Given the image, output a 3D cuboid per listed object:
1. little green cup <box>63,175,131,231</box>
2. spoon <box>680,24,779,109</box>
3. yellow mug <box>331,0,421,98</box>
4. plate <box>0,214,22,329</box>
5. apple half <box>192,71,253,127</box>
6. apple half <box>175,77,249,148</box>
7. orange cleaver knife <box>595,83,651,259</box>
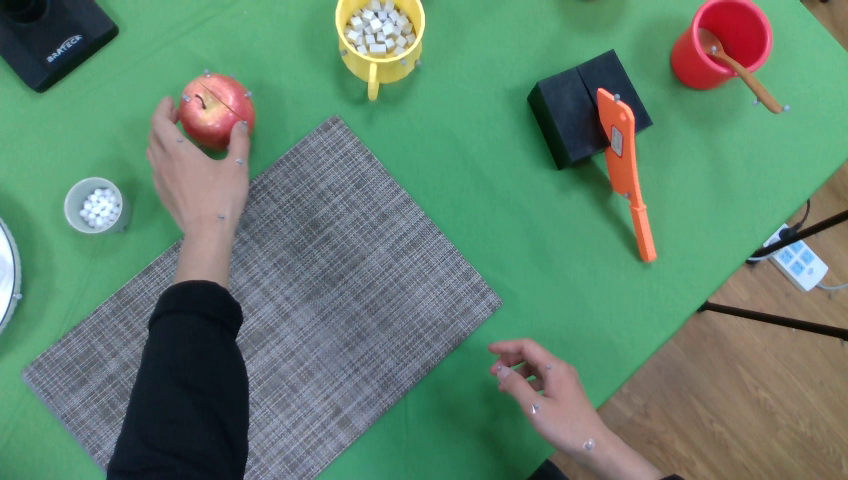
[{"bbox_3d":[-0.359,-0.038,0.671,0.061,0.038,0.061,0,84,-4],"label":"little green cup"},{"bbox_3d":[0.347,-0.202,0.692,0.041,0.022,0.191,-7,40,-4],"label":"spoon"},{"bbox_3d":[-0.057,-0.229,0.700,0.100,0.064,0.130,6,85,-4],"label":"yellow mug"},{"bbox_3d":[-0.536,0.039,0.648,0.208,0.039,0.207,1,84,-5],"label":"plate"},{"bbox_3d":[-0.216,-0.163,0.676,0.081,0.081,0.033,40,86,1],"label":"apple half"},{"bbox_3d":[-0.240,-0.132,0.672,0.081,0.074,0.053,40,86,0],"label":"apple half"},{"bbox_3d":[0.230,-0.077,0.701,0.012,0.076,0.213,-22,116,-3],"label":"orange cleaver knife"}]
